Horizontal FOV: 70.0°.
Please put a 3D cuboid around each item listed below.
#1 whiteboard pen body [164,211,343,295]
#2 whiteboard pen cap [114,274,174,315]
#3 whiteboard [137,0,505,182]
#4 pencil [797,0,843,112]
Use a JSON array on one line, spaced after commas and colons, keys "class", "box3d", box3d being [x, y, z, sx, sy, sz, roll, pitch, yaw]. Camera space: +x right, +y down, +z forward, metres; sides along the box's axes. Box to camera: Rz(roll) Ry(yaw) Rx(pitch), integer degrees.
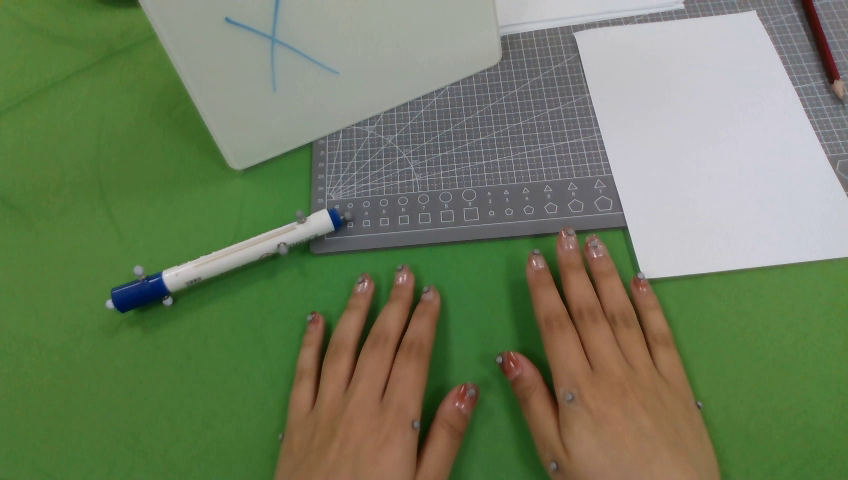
[{"class": "whiteboard pen body", "box3d": [-0.119, 0.012, 0.389, 0.141, 0.017, 0.017, -22, 63, -9]}, {"class": "whiteboard pen cap", "box3d": [-0.174, 0.033, 0.379, 0.033, 0.018, 0.018, -22, 63, -11]}, {"class": "whiteboard", "box3d": [-0.092, -0.233, 0.388, 0.217, 0.309, 0.142, -24, 43, -7]}, {"class": "pencil", "box3d": [0.293, -0.176, 0.464, 0.012, 0.012, 0.192, -1, 64, 4]}]
